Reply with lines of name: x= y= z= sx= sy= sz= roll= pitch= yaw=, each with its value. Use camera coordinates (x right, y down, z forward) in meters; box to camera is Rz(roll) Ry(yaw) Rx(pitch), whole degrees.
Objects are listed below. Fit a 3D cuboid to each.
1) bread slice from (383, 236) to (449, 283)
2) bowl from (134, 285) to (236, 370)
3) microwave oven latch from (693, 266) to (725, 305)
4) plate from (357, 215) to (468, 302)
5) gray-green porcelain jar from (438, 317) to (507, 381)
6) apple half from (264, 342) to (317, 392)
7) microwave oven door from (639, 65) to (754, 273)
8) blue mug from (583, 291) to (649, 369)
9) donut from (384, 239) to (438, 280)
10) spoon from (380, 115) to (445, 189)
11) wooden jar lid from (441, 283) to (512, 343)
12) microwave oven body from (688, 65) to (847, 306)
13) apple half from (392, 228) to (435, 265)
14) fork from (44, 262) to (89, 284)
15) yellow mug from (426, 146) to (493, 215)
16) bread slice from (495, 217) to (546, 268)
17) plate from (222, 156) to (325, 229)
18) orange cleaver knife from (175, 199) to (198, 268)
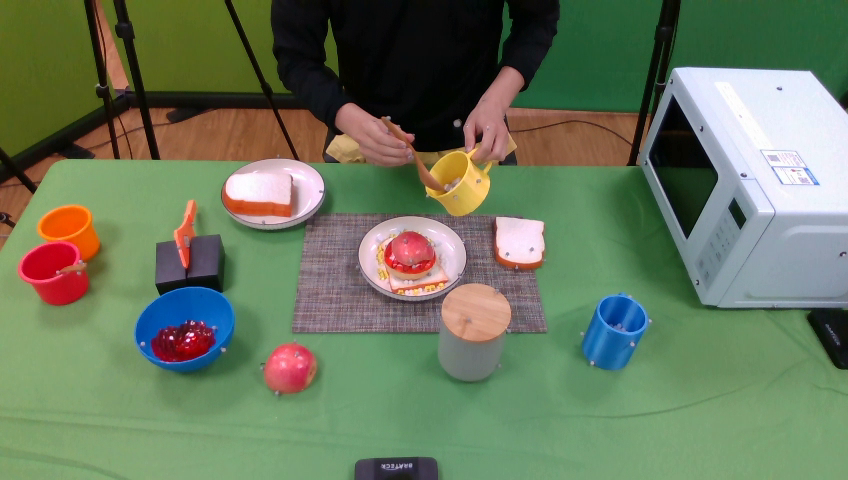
bread slice: x=-0.023 y=0.045 z=1.149 sx=0.107 sy=0.018 sz=0.133 roll=-16 pitch=58 yaw=-13
bowl: x=-0.377 y=0.155 z=0.981 sx=0.151 sy=0.077 sz=0.150 roll=2 pitch=46 yaw=-2
microwave oven latch: x=0.523 y=0.082 z=1.115 sx=0.030 sy=0.029 sz=0.078 roll=3 pitch=46 yaw=0
plate: x=-0.022 y=0.037 z=1.141 sx=0.208 sy=0.039 sz=0.206 roll=2 pitch=46 yaw=-2
gray-green porcelain jar: x=0.076 y=0.158 z=0.977 sx=0.106 sy=0.127 sz=0.105 roll=2 pitch=47 yaw=-2
apple half: x=-0.214 y=0.198 z=0.970 sx=0.074 sy=0.053 sz=0.080 roll=19 pitch=48 yaw=10
microwave oven door: x=0.522 y=-0.147 z=1.193 sx=0.039 sy=0.245 sz=0.353 roll=0 pitch=47 yaw=-3
blue mug: x=0.324 y=0.142 z=1.023 sx=0.082 sy=0.106 sz=0.116 roll=15 pitch=47 yaw=11
donut: x=-0.025 y=0.030 z=1.110 sx=0.099 sy=0.048 sz=0.098 roll=2 pitch=46 yaw=-2
spoon: x=-0.019 y=-0.140 z=0.991 sx=0.041 sy=0.195 sz=0.021 roll=19 pitch=67 yaw=41
wooden jar lid: x=0.080 y=0.114 z=0.931 sx=0.108 sy=0.021 sz=0.107 roll=1 pitch=49 yaw=-1
microwave oven body: x=0.669 y=-0.111 z=1.176 sx=0.326 sy=0.261 sz=0.439 roll=0 pitch=46 yaw=-3
apple half: x=-0.020 y=0.004 z=1.084 sx=0.081 sy=0.033 sz=0.081 roll=6 pitch=51 yaw=-7
fork: x=-0.598 y=0.054 z=1.014 sx=0.207 sy=0.019 sz=0.028 roll=-15 pitch=29 yaw=45
yellow mug: x=0.071 y=-0.115 z=1.081 sx=0.131 sy=0.064 sz=0.099 roll=-46 pitch=38 yaw=7
bread slice: x=0.194 y=0.002 z=1.205 sx=0.105 sy=0.019 sz=0.131 roll=5 pitch=45 yaw=3
plate: x=-0.308 y=-0.095 z=1.251 sx=0.209 sy=0.038 sz=0.208 roll=2 pitch=47 yaw=-2
orange cleaver knife: x=-0.438 y=-0.017 z=1.138 sx=0.012 sy=0.077 sz=0.210 roll=-14 pitch=27 yaw=-7
